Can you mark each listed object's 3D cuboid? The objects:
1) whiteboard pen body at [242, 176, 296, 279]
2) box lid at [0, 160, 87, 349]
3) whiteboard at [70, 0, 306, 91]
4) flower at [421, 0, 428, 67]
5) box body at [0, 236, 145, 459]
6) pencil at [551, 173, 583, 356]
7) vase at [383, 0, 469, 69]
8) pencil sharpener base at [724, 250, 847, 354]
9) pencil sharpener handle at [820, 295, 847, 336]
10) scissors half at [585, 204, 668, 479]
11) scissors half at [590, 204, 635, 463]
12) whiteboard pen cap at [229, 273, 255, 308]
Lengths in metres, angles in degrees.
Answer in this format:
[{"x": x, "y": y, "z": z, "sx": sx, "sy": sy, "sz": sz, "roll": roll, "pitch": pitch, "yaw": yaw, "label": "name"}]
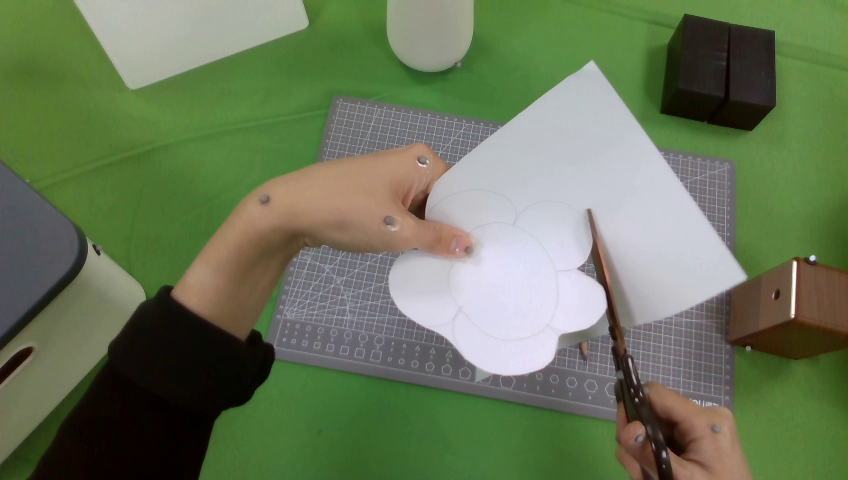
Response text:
[{"x": -0.161, "y": -0.004, "z": 0.614, "sx": 0.017, "sy": 0.017, "sz": 0.140, "roll": 16, "pitch": 69, "yaw": 5, "label": "whiteboard pen body"}, {"x": -0.468, "y": -0.006, "z": 0.452, "sx": 0.370, "sy": 0.015, "sz": 0.262, "roll": 36, "pitch": 73, "yaw": 11, "label": "box lid"}, {"x": -0.282, "y": -0.350, "z": 0.616, "sx": 0.217, "sy": 0.308, "sz": 0.142, "roll": -23, "pitch": 53, "yaw": -9, "label": "whiteboard"}, {"x": -0.002, "y": -0.310, "z": 0.545, "sx": 0.044, "sy": 0.365, "sz": 0.038, "roll": 3, "pitch": 52, "yaw": 3, "label": "flower"}, {"x": -0.467, "y": 0.021, "z": 0.522, "sx": 0.362, "sy": 0.161, "sz": 0.253, "roll": 36, "pitch": 73, "yaw": 11, "label": "box body"}, {"x": 0.146, "y": 0.022, "z": 0.617, "sx": 0.012, "sy": 0.012, "sz": 0.193, "roll": -3, "pitch": 72, "yaw": -2, "label": "pencil"}, {"x": 0.002, "y": -0.268, "z": 0.618, "sx": 0.098, "sy": 0.201, "sz": 0.097, "roll": 0, "pitch": 68, "yaw": 0, "label": "vase"}, {"x": 0.340, "y": 0.061, "z": 0.556, "sx": 0.077, "sy": 0.107, "sz": 0.061, "roll": 14, "pitch": 70, "yaw": 0, "label": "pencil sharpener base"}, {"x": 0.390, "y": 0.070, "z": 0.544, "sx": 0.030, "sy": 0.068, "sz": 0.036, "roll": 14, "pitch": 64, "yaw": 1, "label": "pencil sharpener handle"}, {"x": 0.115, "y": 0.064, "z": 0.346, "sx": 0.013, "sy": 0.040, "sz": 0.175, "roll": -14, "pitch": 90, "yaw": 3, "label": "scissors half"}, {"x": 0.116, "y": 0.060, "z": 0.367, "sx": 0.013, "sy": 0.040, "sz": 0.176, "roll": -13, "pitch": 111, "yaw": 8, "label": "scissors half"}, {"x": -0.176, "y": 0.049, "z": 0.593, "sx": 0.018, "sy": 0.018, "sz": 0.033, "roll": 15, "pitch": 66, "yaw": 5, "label": "whiteboard pen cap"}]
